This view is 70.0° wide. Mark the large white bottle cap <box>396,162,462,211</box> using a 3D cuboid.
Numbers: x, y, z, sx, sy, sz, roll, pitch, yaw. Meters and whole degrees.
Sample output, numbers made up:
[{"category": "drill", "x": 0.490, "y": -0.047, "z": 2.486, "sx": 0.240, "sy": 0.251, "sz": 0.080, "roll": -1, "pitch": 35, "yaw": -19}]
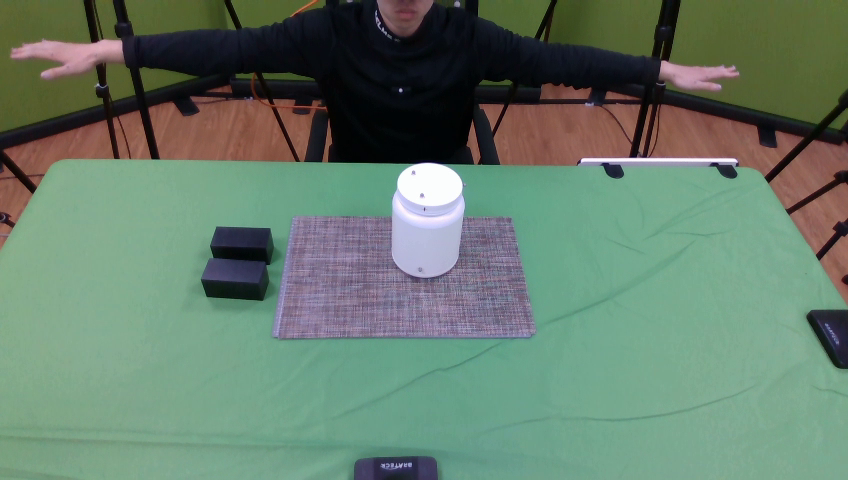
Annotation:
[{"category": "large white bottle cap", "x": 0.009, "y": -0.094, "z": 1.053, "sx": 0.115, "sy": 0.018, "sz": 0.114, "roll": 2, "pitch": 46, "yaw": -2}]

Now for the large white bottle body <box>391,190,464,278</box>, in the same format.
[{"category": "large white bottle body", "x": 0.005, "y": -0.034, "z": 1.114, "sx": 0.131, "sy": 0.185, "sz": 0.130, "roll": 2, "pitch": 46, "yaw": -2}]
